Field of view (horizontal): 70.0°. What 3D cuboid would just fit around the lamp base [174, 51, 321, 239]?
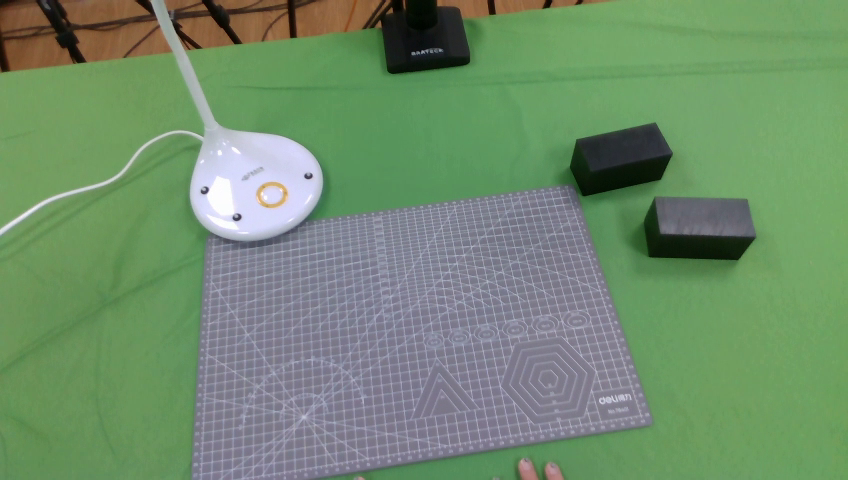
[{"bbox_3d":[-0.221,-0.116,0.689,0.178,0.182,0.160,32,64,24],"label":"lamp base"}]
